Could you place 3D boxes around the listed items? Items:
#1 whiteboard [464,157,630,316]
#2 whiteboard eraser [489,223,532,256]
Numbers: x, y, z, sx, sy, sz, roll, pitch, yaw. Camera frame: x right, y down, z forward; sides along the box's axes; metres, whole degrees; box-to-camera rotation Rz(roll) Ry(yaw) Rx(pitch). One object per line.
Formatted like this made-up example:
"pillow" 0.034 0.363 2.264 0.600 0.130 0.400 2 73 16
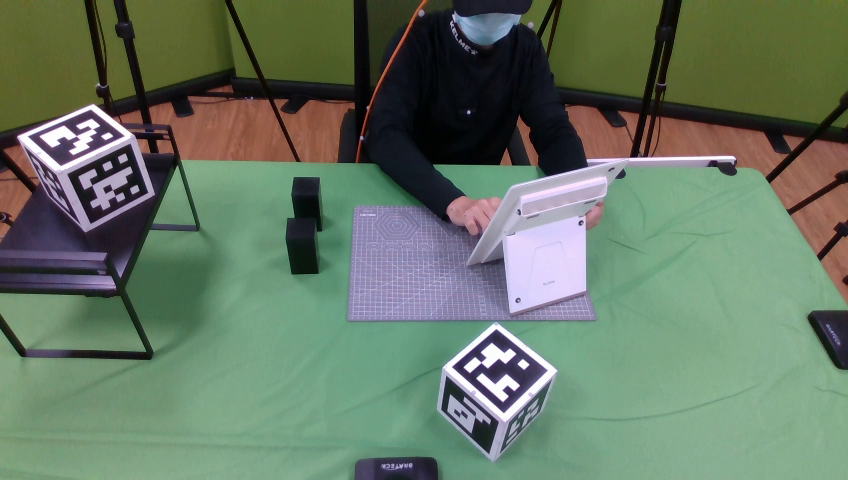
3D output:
"whiteboard" 0.224 0.015 1.042 0.217 0.306 0.143 -13 68 -17
"whiteboard eraser" 0.165 -0.002 1.153 0.041 0.101 0.018 -6 65 -44
